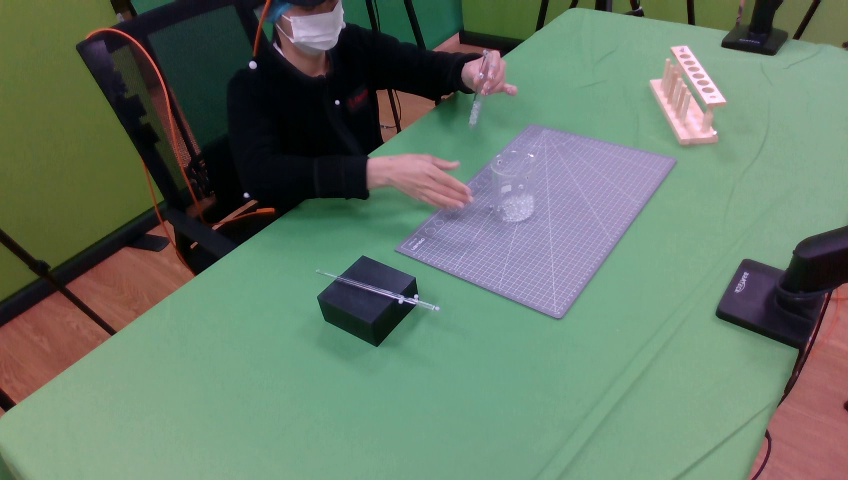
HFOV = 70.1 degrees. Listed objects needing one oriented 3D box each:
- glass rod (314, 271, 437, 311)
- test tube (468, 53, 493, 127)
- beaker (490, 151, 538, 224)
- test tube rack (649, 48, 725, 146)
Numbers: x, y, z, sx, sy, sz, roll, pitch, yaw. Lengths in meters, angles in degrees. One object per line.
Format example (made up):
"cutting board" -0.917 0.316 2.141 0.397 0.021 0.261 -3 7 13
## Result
"glass rod" -0.072 0.069 0.837 0.198 0.008 0.008 14 44 24
"test tube" 0.095 -0.253 1.033 0.017 0.150 0.017 5 51 -6
"beaker" 0.151 -0.084 0.988 0.084 0.101 0.073 -24 43 -20
"test tube rack" 0.508 -0.285 1.186 0.067 0.085 0.241 -4 40 6
